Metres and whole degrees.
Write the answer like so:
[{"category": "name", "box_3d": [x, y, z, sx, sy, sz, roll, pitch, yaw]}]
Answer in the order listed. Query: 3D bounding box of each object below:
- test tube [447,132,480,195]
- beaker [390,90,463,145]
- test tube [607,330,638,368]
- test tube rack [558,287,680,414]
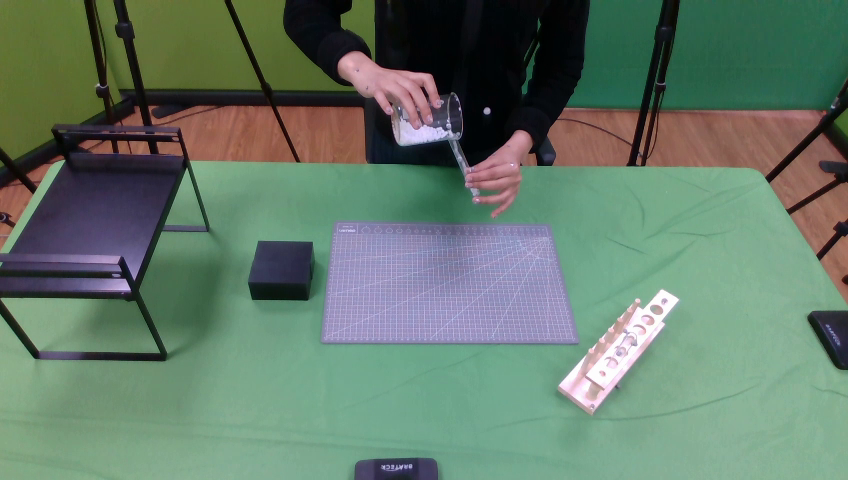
[{"category": "test tube", "box_3d": [0.070, -0.128, 1.039, 0.017, 0.151, 0.017, -13, 50, 16]}, {"category": "beaker", "box_3d": [0.001, -0.187, 0.946, 0.100, 0.084, 0.073, -11, 52, -12]}, {"category": "test tube", "box_3d": [0.293, 0.184, 0.924, 0.017, 0.151, 0.017, 4, 48, -4]}, {"category": "test tube rack", "box_3d": [0.326, 0.170, 1.009, 0.066, 0.085, 0.242, 36, 54, 27]}]
